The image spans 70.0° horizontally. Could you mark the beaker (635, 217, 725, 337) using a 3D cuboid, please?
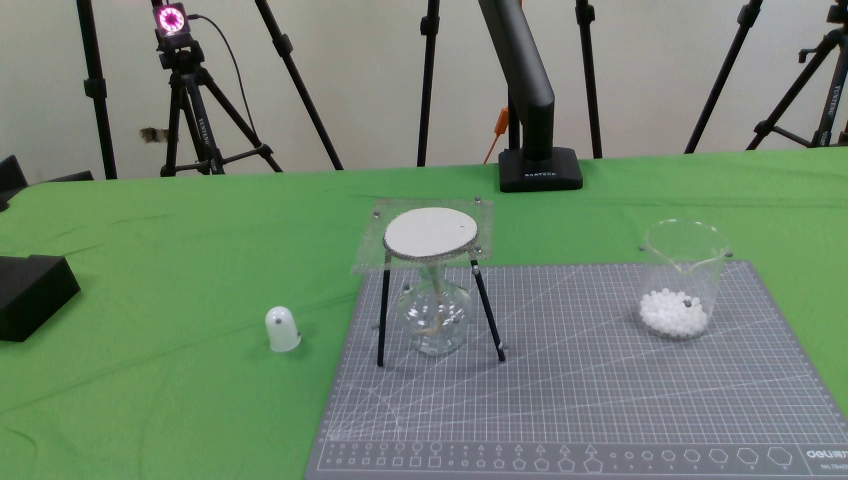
[{"bbox_3d":[0.248,0.040,0.596,0.073,0.101,0.083,6,36,19],"label":"beaker"}]

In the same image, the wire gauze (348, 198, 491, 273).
[{"bbox_3d":[0.001,-0.010,0.554,0.121,0.011,0.124,-2,32,8],"label":"wire gauze"}]

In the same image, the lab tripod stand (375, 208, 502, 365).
[{"bbox_3d":[0.008,0.044,0.595,0.148,0.132,0.147,-5,32,4],"label":"lab tripod stand"}]

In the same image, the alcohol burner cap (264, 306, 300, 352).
[{"bbox_3d":[-0.152,0.091,0.639,0.034,0.048,0.033,-4,35,3],"label":"alcohol burner cap"}]

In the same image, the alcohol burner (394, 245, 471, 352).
[{"bbox_3d":[0.007,0.053,0.600,0.078,0.120,0.077,-3,35,2],"label":"alcohol burner"}]
